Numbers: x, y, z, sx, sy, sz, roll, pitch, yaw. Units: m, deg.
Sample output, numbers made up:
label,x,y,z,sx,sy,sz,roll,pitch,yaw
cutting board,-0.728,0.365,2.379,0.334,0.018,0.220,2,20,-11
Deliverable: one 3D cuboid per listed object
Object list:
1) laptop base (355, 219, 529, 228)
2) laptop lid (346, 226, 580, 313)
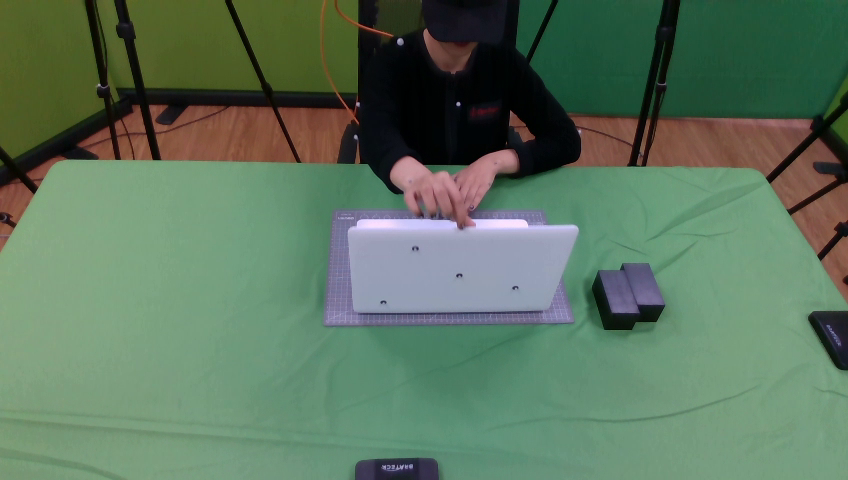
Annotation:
label,x,y,z,sx,sy,sz,roll,pitch,yaw
laptop base,0.043,0.044,1.161,0.355,0.023,0.234,0,43,-5
laptop lid,0.056,0.055,0.985,0.357,0.243,0.013,0,52,-6
